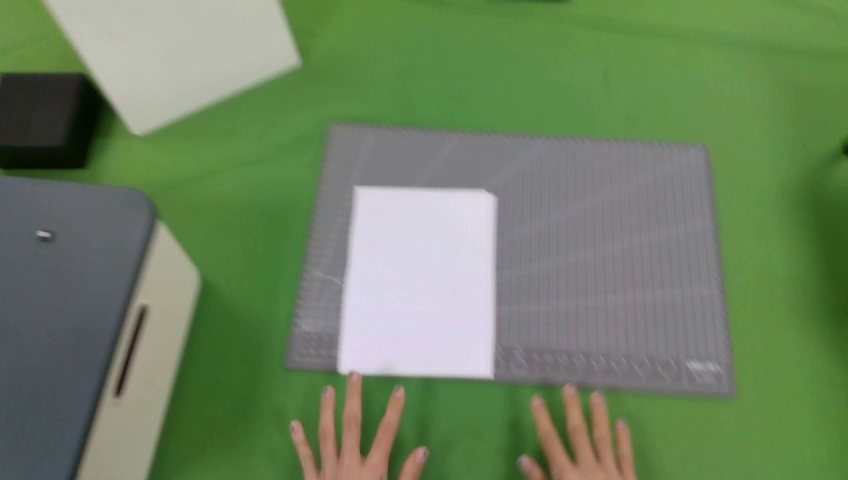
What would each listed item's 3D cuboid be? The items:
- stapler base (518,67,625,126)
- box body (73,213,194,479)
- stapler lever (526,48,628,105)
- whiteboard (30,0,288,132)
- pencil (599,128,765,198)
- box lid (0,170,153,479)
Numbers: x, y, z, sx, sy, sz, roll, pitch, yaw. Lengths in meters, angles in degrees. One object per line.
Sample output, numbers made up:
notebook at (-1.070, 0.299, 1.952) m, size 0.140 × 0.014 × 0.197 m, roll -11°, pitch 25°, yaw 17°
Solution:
stapler base at (0.177, -0.181, 0.718) m, size 0.130 × 0.024 × 0.041 m, roll 29°, pitch 70°, yaw 11°
box body at (-0.419, 0.086, 0.536) m, size 0.364 × 0.161 × 0.252 m, roll 5°, pitch 68°, yaw 2°
stapler lever at (0.176, -0.191, 0.693) m, size 0.117 × 0.040 × 0.027 m, roll 29°, pitch 69°, yaw 12°
whiteboard at (-0.320, -0.317, 0.659) m, size 0.217 × 0.308 × 0.142 m, roll -29°, pitch 51°, yaw -11°
pencil at (0.289, -0.091, 0.689) m, size 0.193 × 0.012 × 0.012 m, roll 26°, pitch 69°, yaw 13°
box lid at (-0.421, 0.056, 0.467) m, size 0.371 × 0.015 × 0.261 m, roll 5°, pitch 67°, yaw 1°
